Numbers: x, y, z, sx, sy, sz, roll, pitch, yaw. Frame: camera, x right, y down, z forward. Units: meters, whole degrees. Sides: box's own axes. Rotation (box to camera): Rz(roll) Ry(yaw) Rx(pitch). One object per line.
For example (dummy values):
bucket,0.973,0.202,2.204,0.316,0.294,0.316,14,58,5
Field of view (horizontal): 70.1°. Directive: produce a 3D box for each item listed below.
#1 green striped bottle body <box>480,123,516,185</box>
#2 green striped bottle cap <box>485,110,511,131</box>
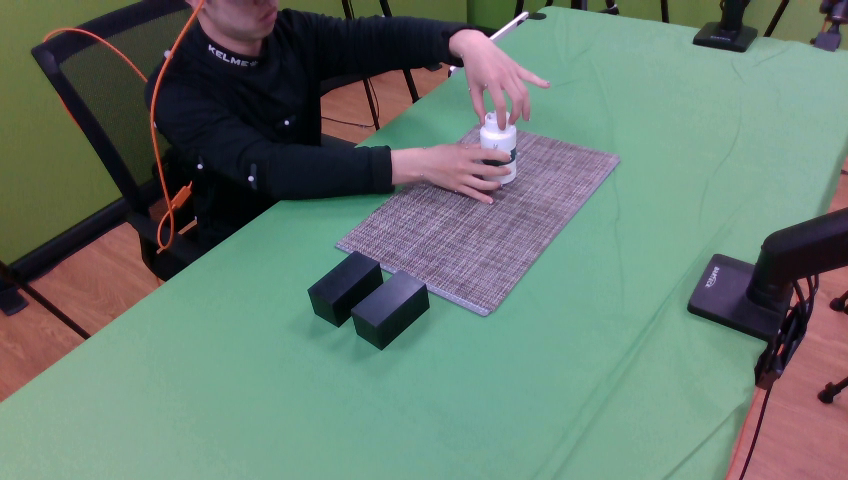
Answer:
green striped bottle body,0.130,-0.161,1.057,0.063,0.120,0.063,-4,40,4
green striped bottle cap,0.125,-0.202,1.024,0.044,0.020,0.044,-4,42,4
